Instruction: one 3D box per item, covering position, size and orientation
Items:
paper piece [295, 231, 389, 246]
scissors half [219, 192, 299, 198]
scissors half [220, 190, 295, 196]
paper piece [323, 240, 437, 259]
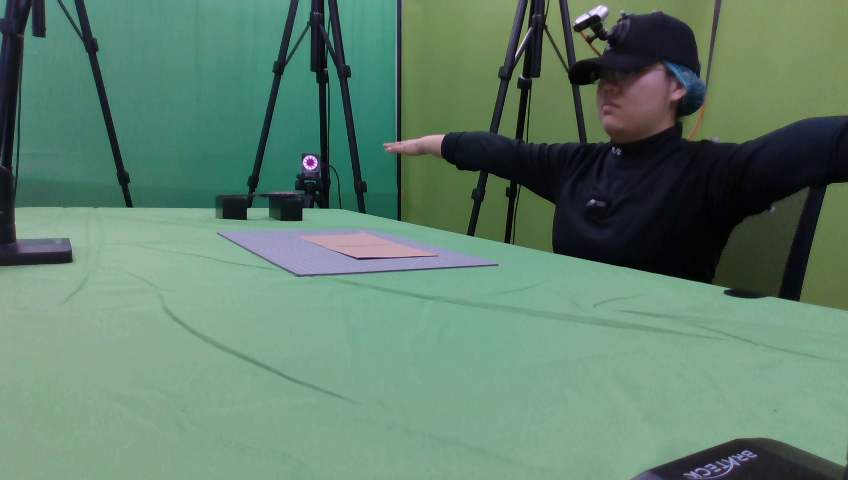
[{"bbox_3d":[-0.138,-0.003,1.045,0.136,0.004,0.134,-3,10,-31],"label":"paper piece"},{"bbox_3d":[-0.370,-0.101,1.363,0.176,0.013,0.040,-2,9,-19],"label":"scissors half"},{"bbox_3d":[-0.379,-0.105,1.380,0.176,0.013,0.040,-5,17,-36],"label":"scissors half"},{"bbox_3d":[-0.069,0.015,0.932,0.137,0.008,0.137,-5,11,-30],"label":"paper piece"}]
